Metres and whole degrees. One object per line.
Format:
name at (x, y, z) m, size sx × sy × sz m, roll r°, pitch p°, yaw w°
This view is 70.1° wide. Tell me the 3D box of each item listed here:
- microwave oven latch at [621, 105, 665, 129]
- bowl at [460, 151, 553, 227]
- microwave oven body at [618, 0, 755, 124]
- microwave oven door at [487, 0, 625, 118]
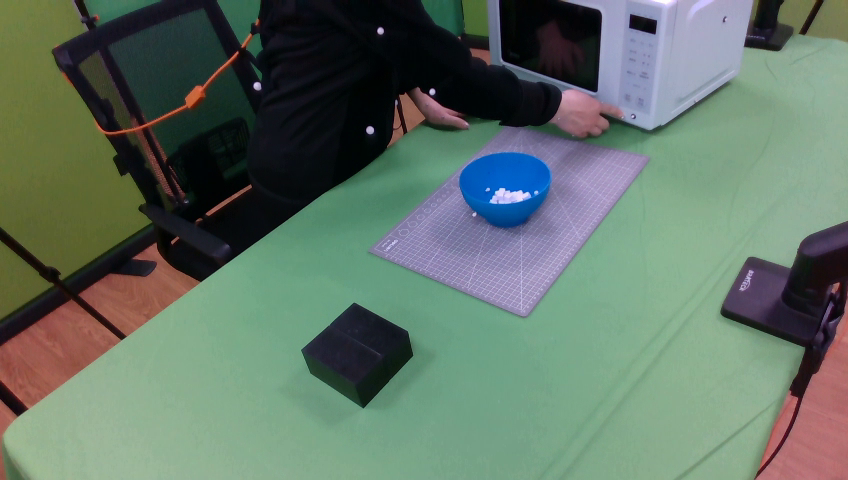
microwave oven latch at (0.414, -0.237, 1.146) m, size 0.030 × 0.029 × 0.078 m, roll -31°, pitch 44°, yaw -22°
bowl at (0.137, -0.074, 1.001) m, size 0.151 × 0.077 × 0.150 m, roll -5°, pitch 39°, yaw 5°
microwave oven body at (0.402, -0.458, 1.259) m, size 0.327 × 0.261 × 0.437 m, roll -33°, pitch 45°, yaw -24°
microwave oven door at (0.263, -0.409, 1.221) m, size 0.039 × 0.245 × 0.352 m, roll -33°, pitch 45°, yaw -25°
